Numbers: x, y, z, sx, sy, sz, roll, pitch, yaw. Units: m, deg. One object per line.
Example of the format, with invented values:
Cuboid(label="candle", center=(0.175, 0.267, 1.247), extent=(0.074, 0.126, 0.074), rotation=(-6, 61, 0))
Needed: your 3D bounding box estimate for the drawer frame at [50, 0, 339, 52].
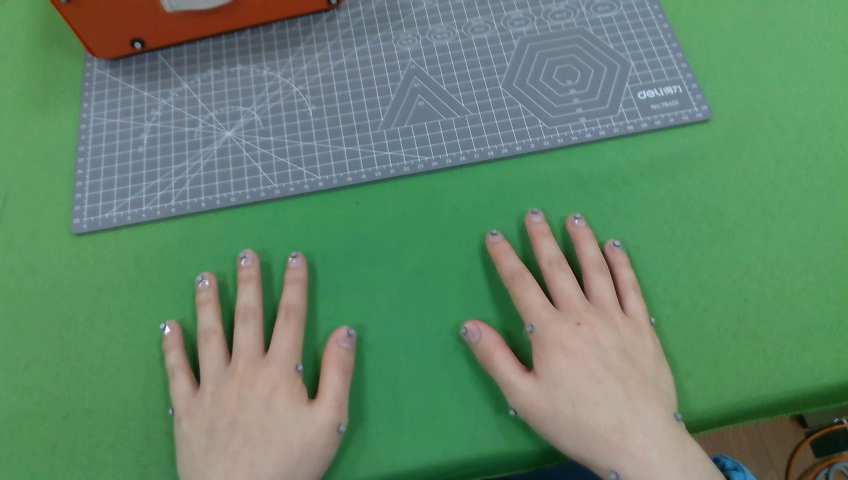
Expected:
Cuboid(label="drawer frame", center=(-0.186, -0.269, 0.479), extent=(0.202, 0.083, 0.211), rotation=(-15, 65, -4))

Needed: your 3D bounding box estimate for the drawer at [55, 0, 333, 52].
Cuboid(label="drawer", center=(-0.184, -0.267, 0.479), extent=(0.194, 0.074, 0.210), rotation=(-15, 65, -4))
